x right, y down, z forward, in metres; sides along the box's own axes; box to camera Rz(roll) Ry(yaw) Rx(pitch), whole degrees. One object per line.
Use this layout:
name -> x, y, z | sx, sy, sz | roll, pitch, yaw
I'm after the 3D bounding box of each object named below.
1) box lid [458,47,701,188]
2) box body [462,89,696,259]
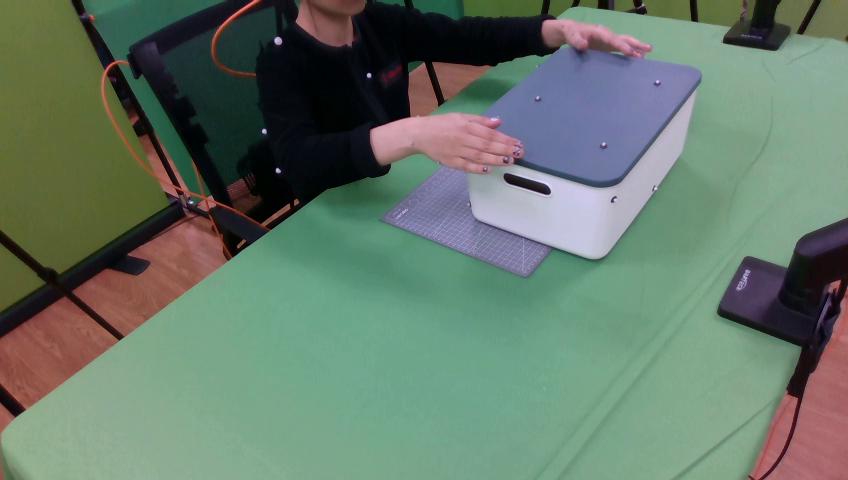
box lid -> 0.253, -0.211, 0.954 | 0.261, 0.015, 0.372 | 22, 49, 30
box body -> 0.261, -0.153, 1.001 | 0.252, 0.161, 0.365 | 21, 48, 31
